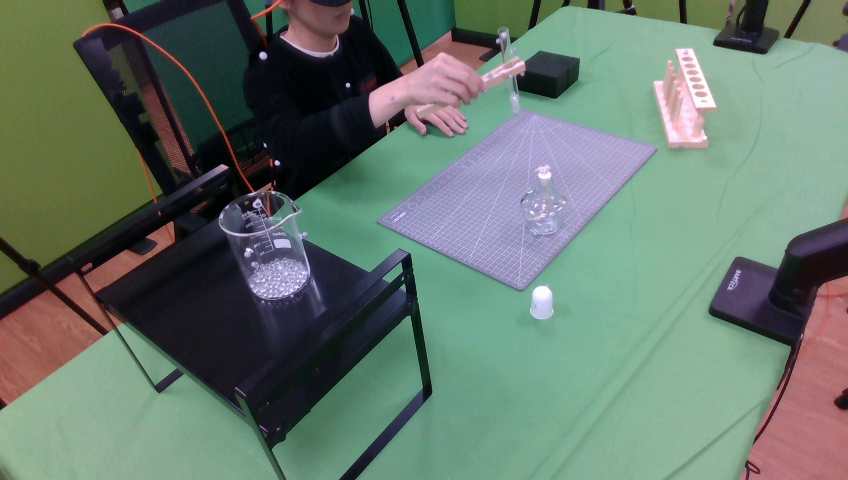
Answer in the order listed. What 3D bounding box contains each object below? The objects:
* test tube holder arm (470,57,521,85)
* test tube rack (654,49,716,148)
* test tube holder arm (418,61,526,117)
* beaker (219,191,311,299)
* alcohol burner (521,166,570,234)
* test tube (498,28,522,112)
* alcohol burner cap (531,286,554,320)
[{"bbox_3d":[0.110,-0.254,0.926,0.088,0.015,0.010,-32,48,-10],"label":"test tube holder arm"},{"bbox_3d":[0.502,-0.281,1.176,0.066,0.085,0.241,2,41,11],"label":"test tube rack"},{"bbox_3d":[0.073,-0.230,0.917,0.178,0.015,0.013,-26,46,-5],"label":"test tube holder arm"},{"bbox_3d":[-0.164,0.008,0.654,0.084,0.101,0.073,-10,41,-3],"label":"beaker"},{"bbox_3d":[0.192,-0.068,0.951,0.078,0.119,0.077,-4,42,4],"label":"alcohol burner"},{"bbox_3d":[0.134,-0.258,0.931,0.017,0.151,0.017,-10,49,11],"label":"test tube"},{"bbox_3d":[0.164,0.084,0.838,0.034,0.048,0.033,-4,40,4],"label":"alcohol burner cap"}]
